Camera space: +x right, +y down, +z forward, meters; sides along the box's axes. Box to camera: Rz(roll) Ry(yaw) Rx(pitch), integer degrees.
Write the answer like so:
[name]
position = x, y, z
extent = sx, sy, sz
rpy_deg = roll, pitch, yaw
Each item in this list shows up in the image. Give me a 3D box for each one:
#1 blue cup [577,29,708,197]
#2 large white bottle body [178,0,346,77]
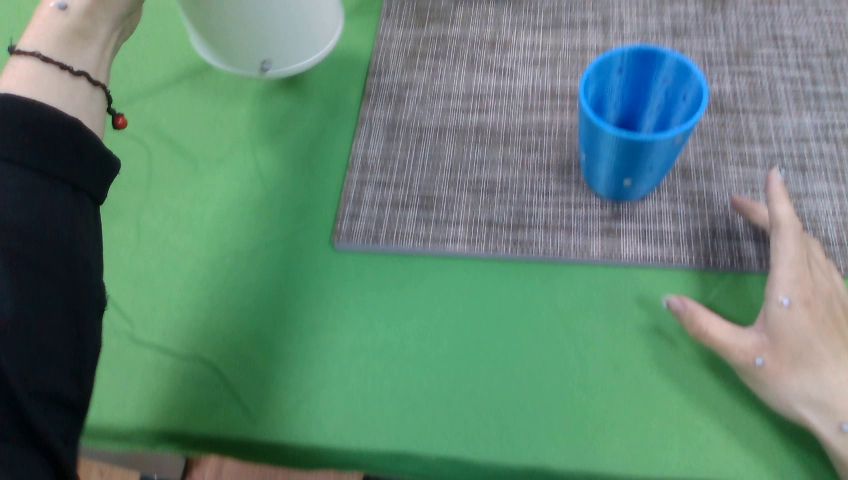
[blue cup]
position = 0.153, -0.083, 0.452
extent = 0.092, 0.101, 0.092
rpy_deg = -3, 61, 7
[large white bottle body]
position = -0.131, -0.228, 0.444
extent = 0.131, 0.186, 0.129
rpy_deg = 1, 63, -1
